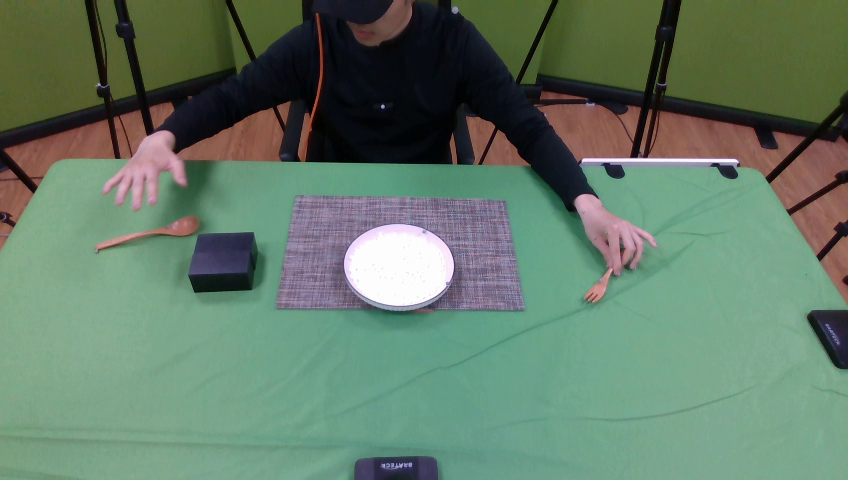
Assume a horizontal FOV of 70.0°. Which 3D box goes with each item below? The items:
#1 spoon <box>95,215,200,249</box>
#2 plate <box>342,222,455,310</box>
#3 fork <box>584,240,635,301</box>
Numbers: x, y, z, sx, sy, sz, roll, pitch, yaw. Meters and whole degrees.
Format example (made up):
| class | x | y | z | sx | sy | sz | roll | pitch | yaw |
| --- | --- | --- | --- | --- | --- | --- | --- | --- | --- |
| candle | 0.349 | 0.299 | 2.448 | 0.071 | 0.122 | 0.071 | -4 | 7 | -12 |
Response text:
| class | x | y | z | sx | sy | sz | roll | pitch | yaw |
| --- | --- | --- | --- | --- | --- | --- | --- | --- | --- |
| spoon | -0.531 | -0.014 | 1.168 | 0.194 | 0.022 | 0.041 | -13 | 65 | -16 |
| plate | -0.047 | 0.052 | 1.127 | 0.209 | 0.038 | 0.208 | 2 | 46 | -2 |
| fork | 0.364 | 0.056 | 1.171 | 0.028 | 0.019 | 0.207 | 20 | 48 | 34 |
